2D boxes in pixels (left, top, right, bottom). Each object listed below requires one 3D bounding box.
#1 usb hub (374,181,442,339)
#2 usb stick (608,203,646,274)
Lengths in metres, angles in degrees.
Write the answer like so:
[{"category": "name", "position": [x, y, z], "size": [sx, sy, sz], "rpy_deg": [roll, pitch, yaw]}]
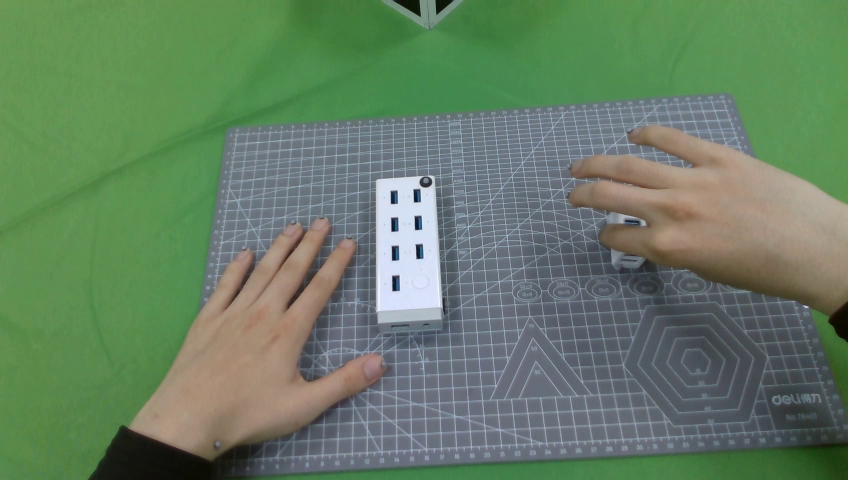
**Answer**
[{"category": "usb hub", "position": [-0.013, 0.012, 0.465], "size": [0.049, 0.025, 0.124], "rpy_deg": [-4, 61, 2]}, {"category": "usb stick", "position": [0.154, -0.006, 0.463], "size": [0.021, 0.027, 0.058], "rpy_deg": [6, 61, 2]}]
